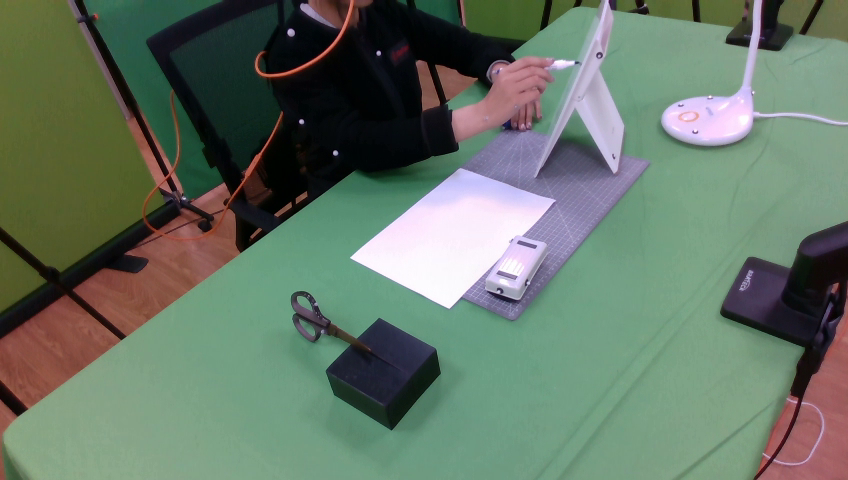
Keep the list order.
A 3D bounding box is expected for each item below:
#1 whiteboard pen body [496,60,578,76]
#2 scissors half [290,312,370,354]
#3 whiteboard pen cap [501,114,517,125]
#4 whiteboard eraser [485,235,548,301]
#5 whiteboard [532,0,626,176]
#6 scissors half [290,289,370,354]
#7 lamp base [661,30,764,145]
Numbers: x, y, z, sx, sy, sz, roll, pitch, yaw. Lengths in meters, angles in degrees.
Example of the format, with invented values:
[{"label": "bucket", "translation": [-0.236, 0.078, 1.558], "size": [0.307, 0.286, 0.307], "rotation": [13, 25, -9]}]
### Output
[{"label": "whiteboard pen body", "translation": [0.195, -0.297, 1.042], "size": [0.140, 0.017, 0.017], "rotation": [-2, 40, 17]}, {"label": "scissors half", "translation": [-0.128, 0.129, 0.816], "size": [0.013, 0.040, 0.173], "rotation": [-23, 21, -40]}, {"label": "whiteboard pen cap", "translation": [0.172, -0.243, 1.226], "size": [0.033, 0.018, 0.018], "rotation": [-20, 40, -29]}, {"label": "whiteboard eraser", "translation": [0.137, 0.042, 0.887], "size": [0.055, 0.042, 0.113], "rotation": [15, 46, 27]}, {"label": "whiteboard", "translation": [0.320, -0.259, 1.050], "size": [0.144, 0.306, 0.217], "rotation": [21, 45, 5]}, {"label": "scissors half", "translation": [-0.128, 0.110, 0.809], "size": [0.013, 0.040, 0.173], "rotation": [-17, 36, -43]}, {"label": "lamp base", "translation": [0.535, -0.287, 1.096], "size": [0.179, 0.181, 0.159], "rotation": [-10, 40, -4]}]
